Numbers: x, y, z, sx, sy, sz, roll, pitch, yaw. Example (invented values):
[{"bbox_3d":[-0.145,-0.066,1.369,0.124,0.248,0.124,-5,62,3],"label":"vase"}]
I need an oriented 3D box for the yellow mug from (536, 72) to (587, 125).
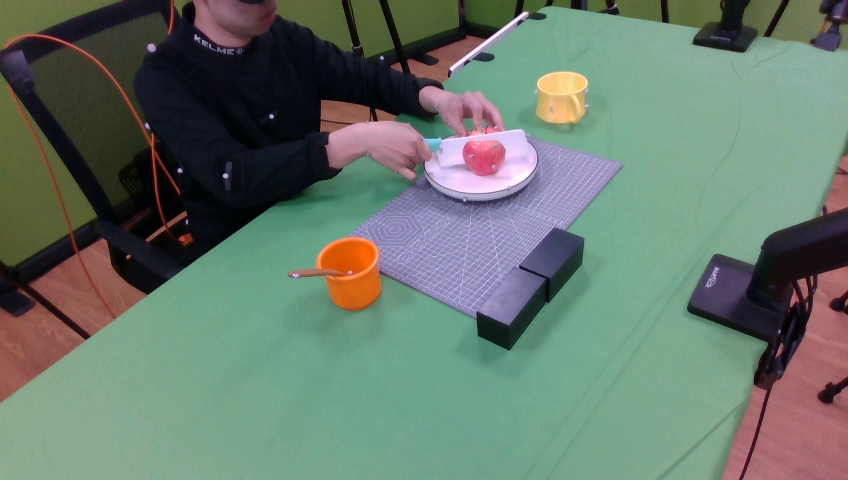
[{"bbox_3d":[0.284,-0.281,1.222,0.100,0.064,0.130,-16,42,-9],"label":"yellow mug"}]

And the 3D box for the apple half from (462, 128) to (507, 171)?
[{"bbox_3d":[0.107,-0.164,1.083,0.081,0.075,0.053,-3,27,1],"label":"apple half"}]

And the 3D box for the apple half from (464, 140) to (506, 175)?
[{"bbox_3d":[0.105,-0.138,1.060,0.081,0.081,0.032,1,46,10],"label":"apple half"}]

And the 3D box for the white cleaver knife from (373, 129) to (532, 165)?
[{"bbox_3d":[0.046,-0.156,1.071,0.285,0.066,0.021,-3,46,14],"label":"white cleaver knife"}]

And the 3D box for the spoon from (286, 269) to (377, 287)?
[{"bbox_3d":[-0.125,0.050,0.831,0.041,0.195,0.021,22,92,28],"label":"spoon"}]

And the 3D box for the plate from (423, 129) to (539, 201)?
[{"bbox_3d":[0.102,-0.132,1.092,0.209,0.038,0.208,-4,40,4],"label":"plate"}]
